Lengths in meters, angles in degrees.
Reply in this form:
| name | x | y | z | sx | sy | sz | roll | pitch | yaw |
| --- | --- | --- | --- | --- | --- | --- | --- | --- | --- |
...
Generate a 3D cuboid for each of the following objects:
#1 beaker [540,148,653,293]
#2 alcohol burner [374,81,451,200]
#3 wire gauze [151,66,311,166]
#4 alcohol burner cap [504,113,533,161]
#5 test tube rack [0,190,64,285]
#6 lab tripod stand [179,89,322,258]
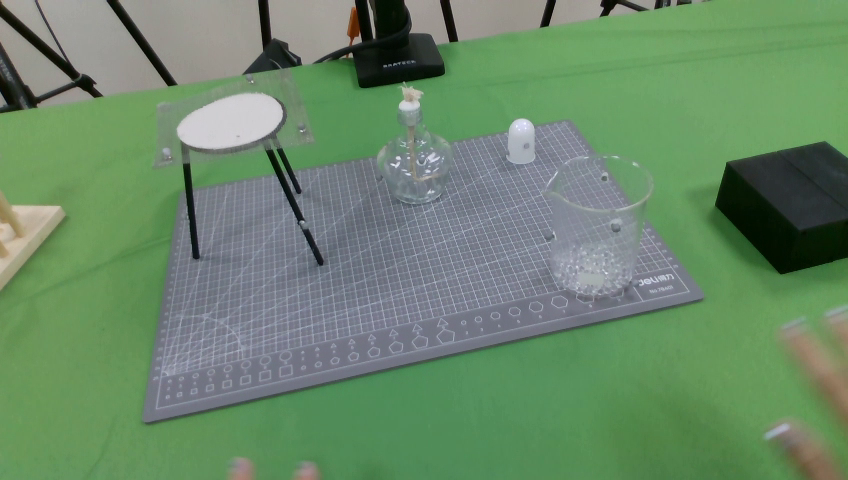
| name | x | y | z | sx | sy | sz | roll | pitch | yaw |
| --- | --- | --- | --- | --- | --- | --- | --- | --- | --- |
| beaker | 0.136 | -0.012 | 0.493 | 0.084 | 0.101 | 0.073 | -4 | 42 | 5 |
| alcohol burner | -0.013 | -0.100 | 0.597 | 0.078 | 0.120 | 0.077 | -4 | 40 | 4 |
| wire gauze | -0.165 | -0.105 | 0.505 | 0.125 | 0.011 | 0.120 | -16 | 43 | -9 |
| alcohol burner cap | 0.102 | -0.113 | 0.650 | 0.034 | 0.048 | 0.033 | -4 | 42 | 4 |
| test tube rack | -0.440 | 0.018 | 0.545 | 0.066 | 0.086 | 0.240 | 2 | 43 | 9 |
| lab tripod stand | -0.159 | -0.056 | 0.551 | 0.148 | 0.133 | 0.147 | -4 | 44 | 4 |
